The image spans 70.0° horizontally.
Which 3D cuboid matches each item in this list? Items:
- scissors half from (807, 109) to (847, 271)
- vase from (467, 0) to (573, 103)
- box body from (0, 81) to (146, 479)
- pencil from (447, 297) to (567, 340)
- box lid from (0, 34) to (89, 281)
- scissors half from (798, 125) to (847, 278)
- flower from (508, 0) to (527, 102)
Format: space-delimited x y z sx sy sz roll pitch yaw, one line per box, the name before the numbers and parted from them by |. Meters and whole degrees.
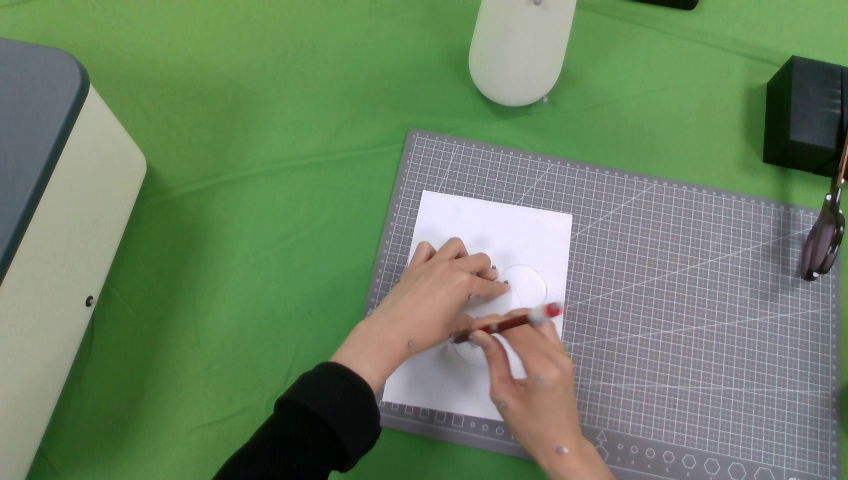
scissors half | 0.386 -0.052 0.567 0.013 0.040 0.174 17 72 14
vase | 0.093 -0.216 0.570 0.098 0.201 0.097 0 70 0
box body | -0.423 0.021 0.497 0.254 0.161 0.362 12 72 3
pencil | 0.055 0.066 0.475 0.012 0.194 0.012 6 73 -19
box lid | -0.422 -0.005 0.426 0.263 0.015 0.369 12 71 2
scissors half | 0.391 -0.048 0.587 0.012 0.040 0.175 17 90 19
flower | 0.091 -0.257 0.496 0.044 0.365 0.038 5 53 4
